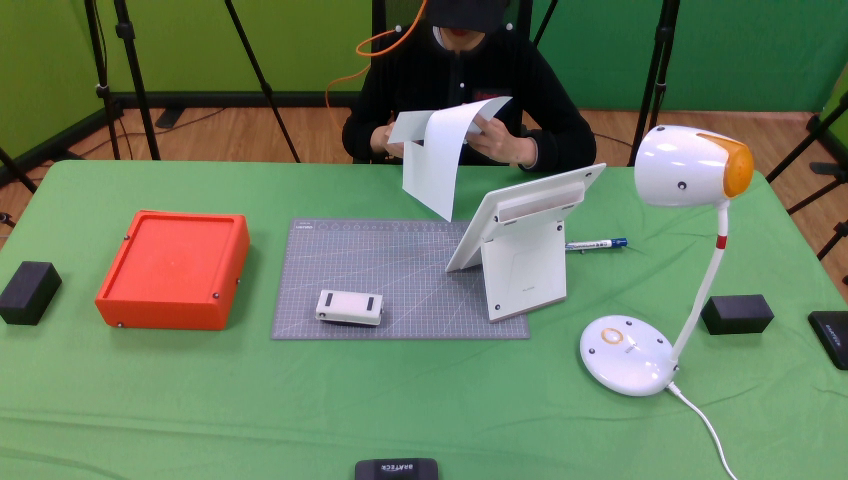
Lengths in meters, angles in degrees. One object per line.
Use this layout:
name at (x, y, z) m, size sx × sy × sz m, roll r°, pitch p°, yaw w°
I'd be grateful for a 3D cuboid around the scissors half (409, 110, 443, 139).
scissors half at (0.004, -0.245, 1.265) m, size 0.013 × 0.175 × 0.040 m, roll 10°, pitch 83°, yaw -21°

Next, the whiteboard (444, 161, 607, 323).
whiteboard at (0.186, 0.025, 1.029) m, size 0.217 × 0.306 × 0.143 m, roll -14°, pitch 68°, yaw -18°

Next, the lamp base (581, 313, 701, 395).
lamp base at (0.361, 0.144, 0.972) m, size 0.178 × 0.181 × 0.160 m, roll 34°, pitch 53°, yaw 23°

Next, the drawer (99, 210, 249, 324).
drawer at (-0.435, 0.044, 1.081) m, size 0.194 × 0.073 × 0.210 m, roll 3°, pitch 47°, yaw -2°

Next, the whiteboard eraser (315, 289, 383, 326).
whiteboard eraser at (-0.130, 0.119, 1.054) m, size 0.113 × 0.042 × 0.055 m, roll 6°, pitch 47°, yaw 1°

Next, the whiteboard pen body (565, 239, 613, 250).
whiteboard pen body at (0.331, 0.008, 1.211) m, size 0.141 × 0.017 × 0.017 m, roll -5°, pitch 47°, yaw -3°

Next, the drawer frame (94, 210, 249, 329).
drawer frame at (-0.434, 0.048, 1.076) m, size 0.202 × 0.083 × 0.212 m, roll 2°, pitch 47°, yaw -3°

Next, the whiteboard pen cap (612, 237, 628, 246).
whiteboard pen cap at (0.390, 0.004, 1.215) m, size 0.033 × 0.018 × 0.018 m, roll -7°, pitch 47°, yaw -2°

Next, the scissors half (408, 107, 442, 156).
scissors half at (0.003, -0.225, 1.259) m, size 0.013 × 0.175 × 0.040 m, roll 5°, pitch 64°, yaw -22°

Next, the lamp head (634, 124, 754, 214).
lamp head at (0.351, -0.089, 0.775) m, size 0.112 × 0.113 × 0.122 m, roll -30°, pitch 30°, yaw -28°
